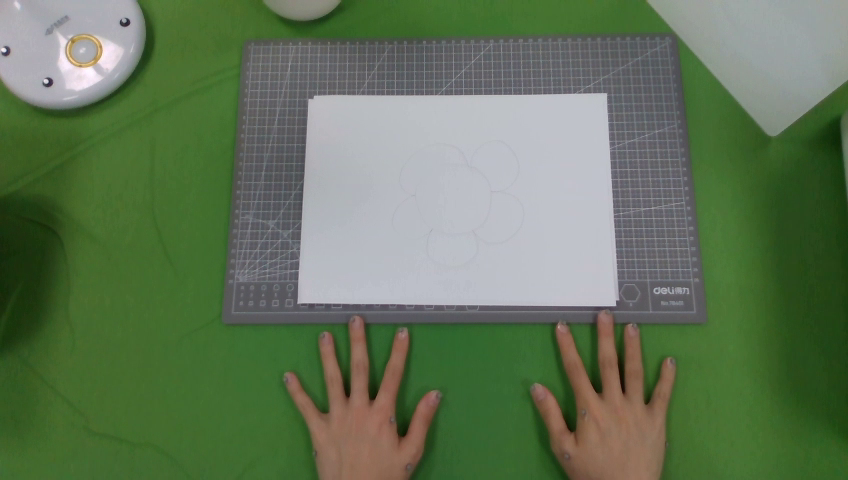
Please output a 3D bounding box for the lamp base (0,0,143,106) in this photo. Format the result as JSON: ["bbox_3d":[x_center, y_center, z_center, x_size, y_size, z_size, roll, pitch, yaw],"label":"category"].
[{"bbox_3d":[-0.389,-0.240,0.562,0.178,0.181,0.160,32,79,12],"label":"lamp base"}]

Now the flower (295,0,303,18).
[{"bbox_3d":[-0.131,-0.333,0.483,0.038,0.365,0.043,-14,58,-9],"label":"flower"}]

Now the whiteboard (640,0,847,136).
[{"bbox_3d":[0.365,-0.279,0.515,0.144,0.306,0.216,-29,76,-24],"label":"whiteboard"}]

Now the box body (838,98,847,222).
[{"bbox_3d":[0.509,0.013,0.483,0.254,0.161,0.362,2,77,2],"label":"box body"}]

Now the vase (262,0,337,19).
[{"bbox_3d":[-0.135,-0.296,0.558,0.098,0.201,0.097,-1,76,3],"label":"vase"}]
